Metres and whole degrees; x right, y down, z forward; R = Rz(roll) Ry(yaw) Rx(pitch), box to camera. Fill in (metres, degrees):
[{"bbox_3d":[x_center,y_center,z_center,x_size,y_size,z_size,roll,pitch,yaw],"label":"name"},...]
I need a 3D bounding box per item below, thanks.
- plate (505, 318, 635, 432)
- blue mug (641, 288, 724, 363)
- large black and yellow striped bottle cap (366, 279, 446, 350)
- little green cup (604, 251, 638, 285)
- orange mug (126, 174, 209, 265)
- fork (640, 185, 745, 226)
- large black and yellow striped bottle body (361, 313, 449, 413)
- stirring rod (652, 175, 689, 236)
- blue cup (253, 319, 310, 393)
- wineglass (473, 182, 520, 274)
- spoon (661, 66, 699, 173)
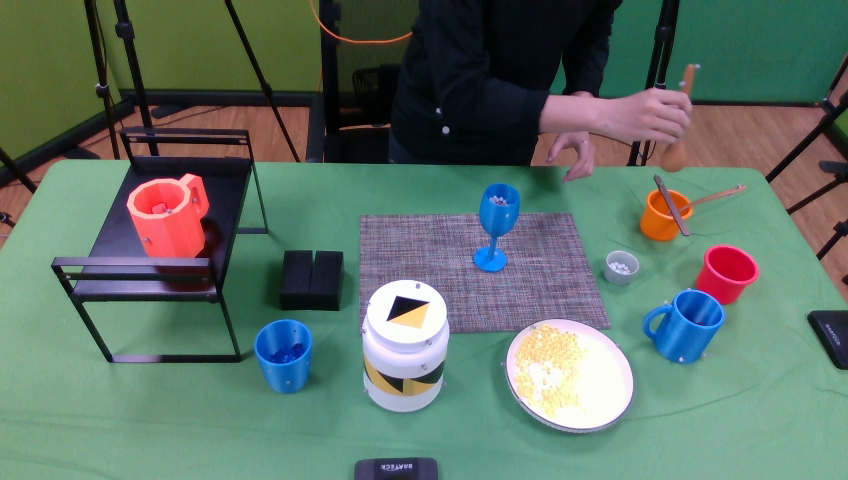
[{"bbox_3d":[0.235,0.221,0.991,0.209,0.038,0.208,2,45,-2],"label":"plate"},{"bbox_3d":[0.432,0.144,1.033,0.116,0.106,0.082,8,46,5],"label":"blue mug"},{"bbox_3d":[-0.025,0.104,0.864,0.115,0.019,0.114,3,48,-3],"label":"large black and yellow striped bottle cap"},{"bbox_3d":[0.375,0.055,1.162,0.061,0.039,0.061,2,45,-2],"label":"little green cup"},{"bbox_3d":[-0.371,-0.039,0.902,0.083,0.101,0.126,18,51,14],"label":"orange mug"},{"bbox_3d":[0.534,-0.069,1.215,0.207,0.019,0.028,-26,27,33],"label":"fork"},{"bbox_3d":[-0.031,0.163,0.924,0.131,0.185,0.130,2,46,-2],"label":"large black and yellow striped bottle body"},{"bbox_3d":[0.491,-0.072,1.211,0.014,0.006,0.175,-1,47,-6],"label":"stirring rod"},{"bbox_3d":[-0.217,0.187,0.943,0.093,0.101,0.092,3,45,-3],"label":"blue cup"},{"bbox_3d":[0.131,-0.022,1.117,0.074,0.173,0.073,2,46,-2],"label":"wineglass"},{"bbox_3d":[0.409,-0.184,0.959,0.041,0.195,0.021,10,41,21],"label":"spoon"}]
